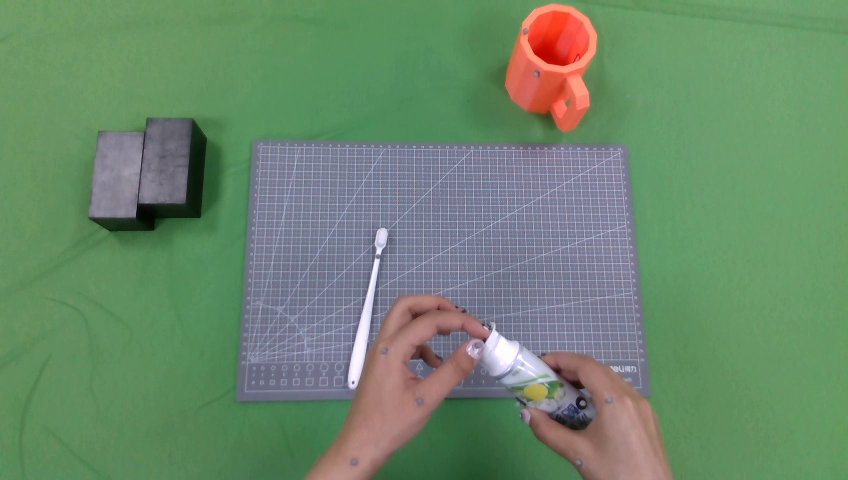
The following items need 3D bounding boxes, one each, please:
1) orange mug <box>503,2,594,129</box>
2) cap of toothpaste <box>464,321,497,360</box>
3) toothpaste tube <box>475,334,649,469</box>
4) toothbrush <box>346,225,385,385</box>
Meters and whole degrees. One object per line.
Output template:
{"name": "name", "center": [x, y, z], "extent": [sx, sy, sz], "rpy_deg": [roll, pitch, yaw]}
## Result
{"name": "orange mug", "center": [0.150, -0.198, 0.709], "extent": [0.083, 0.101, 0.125], "rpy_deg": [-21, 73, -8]}
{"name": "cap of toothpaste", "center": [0.046, 0.081, 0.483], "extent": [0.011, 0.037, 0.037], "rpy_deg": [35, 76, -5]}
{"name": "toothpaste tube", "center": [0.107, 0.132, 0.499], "extent": [0.166, 0.034, 0.055], "rpy_deg": [39, 119, -10]}
{"name": "toothbrush", "center": [-0.064, 0.069, 0.670], "extent": [0.014, 0.016, 0.181], "rpy_deg": [13, 77, -13]}
